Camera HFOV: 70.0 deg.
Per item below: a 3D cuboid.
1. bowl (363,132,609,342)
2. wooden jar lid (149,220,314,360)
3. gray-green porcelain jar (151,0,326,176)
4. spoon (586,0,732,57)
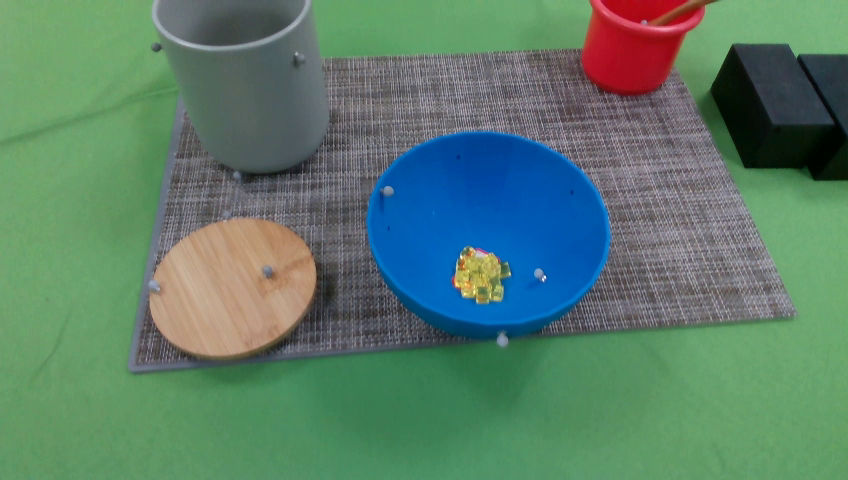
[{"bbox_3d":[0.037,0.009,0.401,0.151,0.077,0.150,1,55,-1],"label":"bowl"},{"bbox_3d":[-0.129,0.034,0.413,0.108,0.021,0.107,1,54,0],"label":"wooden jar lid"},{"bbox_3d":[-0.131,-0.120,0.458,0.106,0.127,0.105,1,54,-1],"label":"gray-green porcelain jar"},{"bbox_3d":[0.222,-0.190,0.508,0.022,0.193,0.041,51,56,-22],"label":"spoon"}]
